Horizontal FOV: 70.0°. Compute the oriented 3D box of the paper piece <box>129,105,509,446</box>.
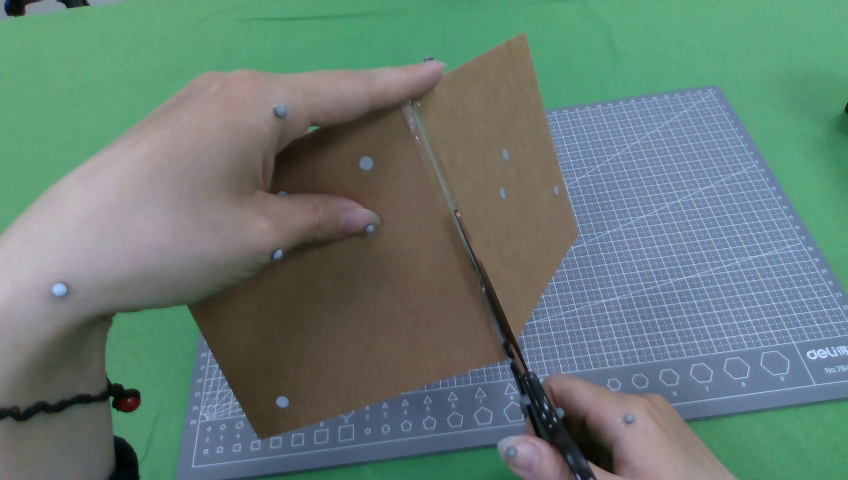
[{"bbox_3d":[-0.047,0.024,0.286,0.138,0.136,0.008,-20,13,8],"label":"paper piece"}]

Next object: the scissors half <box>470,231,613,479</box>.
[{"bbox_3d":[0.052,0.062,0.281,0.013,0.040,0.174,-17,77,-25],"label":"scissors half"}]

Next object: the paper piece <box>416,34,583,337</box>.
[{"bbox_3d":[0.053,-0.033,0.330,0.004,0.136,0.135,-9,22,35],"label":"paper piece"}]

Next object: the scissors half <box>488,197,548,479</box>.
[{"bbox_3d":[0.043,0.062,0.303,0.013,0.176,0.039,-17,23,-20],"label":"scissors half"}]
